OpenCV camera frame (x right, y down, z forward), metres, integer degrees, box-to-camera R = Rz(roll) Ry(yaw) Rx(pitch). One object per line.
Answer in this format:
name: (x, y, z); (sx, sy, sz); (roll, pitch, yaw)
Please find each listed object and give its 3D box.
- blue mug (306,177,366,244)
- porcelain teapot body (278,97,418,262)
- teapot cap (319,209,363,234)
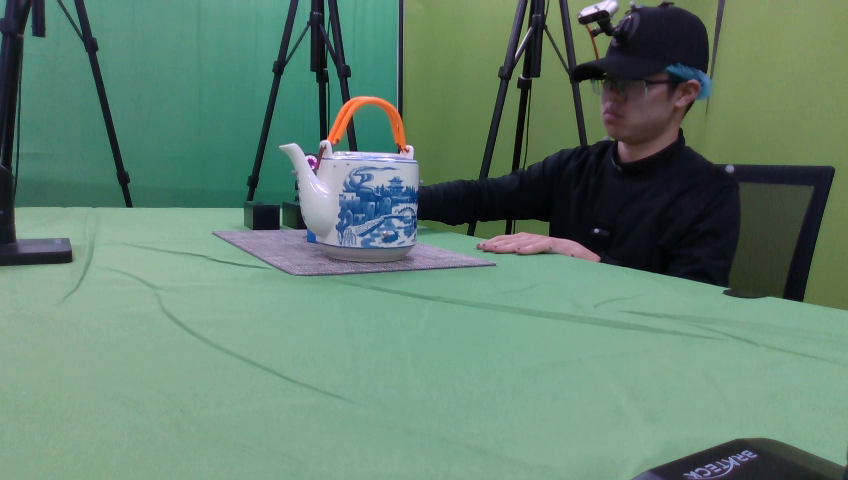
blue mug: (-0.144, -0.052, 1.027); (0.082, 0.106, 0.117); (9, 10, 41)
porcelain teapot body: (-0.104, -0.086, 0.842); (0.206, 0.225, 0.144); (-4, 10, -38)
teapot cap: (-0.157, -0.036, 1.143); (0.085, 0.044, 0.085); (0, 6, 0)
